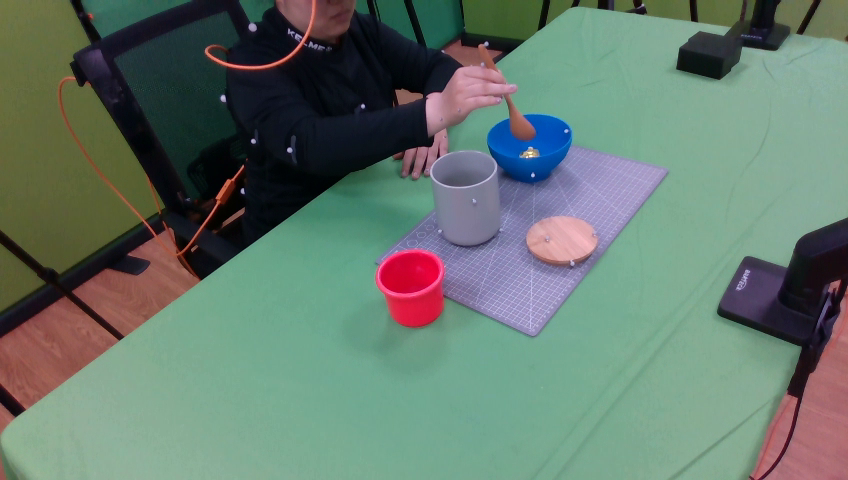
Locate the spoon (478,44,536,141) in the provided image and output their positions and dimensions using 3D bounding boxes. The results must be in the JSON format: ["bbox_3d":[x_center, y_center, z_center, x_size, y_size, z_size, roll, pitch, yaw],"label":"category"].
[{"bbox_3d":[0.131,-0.232,0.973,0.041,0.195,0.021,-9,40,35],"label":"spoon"}]

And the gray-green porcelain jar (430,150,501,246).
[{"bbox_3d":[0.069,-0.062,0.959,0.106,0.127,0.105,-5,40,5],"label":"gray-green porcelain jar"}]

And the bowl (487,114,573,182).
[{"bbox_3d":[0.190,-0.156,1.085,0.151,0.077,0.150,-5,40,5],"label":"bowl"}]

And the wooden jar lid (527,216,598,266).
[{"bbox_3d":[0.214,0.003,0.937,0.108,0.021,0.108,-4,40,4],"label":"wooden jar lid"}]
